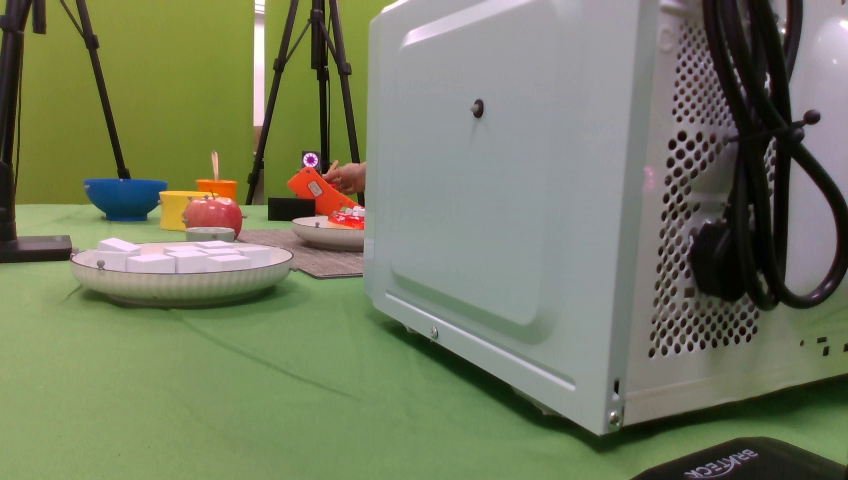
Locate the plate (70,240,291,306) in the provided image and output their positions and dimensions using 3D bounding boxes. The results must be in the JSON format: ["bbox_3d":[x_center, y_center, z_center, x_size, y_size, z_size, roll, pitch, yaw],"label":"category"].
[{"bbox_3d":[-0.242,0.032,0.618,0.208,0.039,0.207,2,8,0],"label":"plate"}]

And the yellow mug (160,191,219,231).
[{"bbox_3d":[-0.416,-0.053,1.103,0.130,0.064,0.100,7,8,27],"label":"yellow mug"}]

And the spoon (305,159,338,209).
[{"bbox_3d":[-0.260,-0.148,1.569,0.041,0.022,0.193,4,52,20],"label":"spoon"}]

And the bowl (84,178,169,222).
[{"bbox_3d":[-0.584,-0.078,1.194,0.151,0.077,0.151,3,8,0],"label":"bowl"}]

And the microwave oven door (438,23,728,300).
[{"bbox_3d":[0.181,-0.072,0.621,0.358,0.243,0.039,-2,8,-29],"label":"microwave oven door"}]

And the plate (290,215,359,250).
[{"bbox_3d":[-0.110,-0.013,0.973,0.209,0.038,0.209,2,8,0],"label":"plate"}]

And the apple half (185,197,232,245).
[{"bbox_3d":[-0.337,-0.031,0.928,0.032,0.081,0.082,13,13,37],"label":"apple half"}]

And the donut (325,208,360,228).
[{"bbox_3d":[-0.110,-0.025,0.974,0.099,0.048,0.099,5,8,0],"label":"donut"}]

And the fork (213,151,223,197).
[{"bbox_3d":[-0.494,-0.143,1.442,0.028,0.018,0.206,0,52,-22],"label":"fork"}]

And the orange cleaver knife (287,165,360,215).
[{"bbox_3d":[-0.211,-0.092,1.382,0.212,0.077,0.012,34,2,-15],"label":"orange cleaver knife"}]

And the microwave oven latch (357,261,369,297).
[{"bbox_3d":[-0.019,0.033,0.530,0.079,0.029,0.030,-1,7,-26],"label":"microwave oven latch"}]

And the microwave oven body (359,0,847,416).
[{"bbox_3d":[0.211,-0.047,0.474,0.444,0.260,0.324,-1,7,-28],"label":"microwave oven body"}]

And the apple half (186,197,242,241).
[{"bbox_3d":[-0.306,-0.026,0.905,0.053,0.074,0.081,14,9,37],"label":"apple half"}]

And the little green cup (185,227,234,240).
[{"bbox_3d":[-0.285,0.005,0.805,0.061,0.038,0.061,3,8,0],"label":"little green cup"}]
